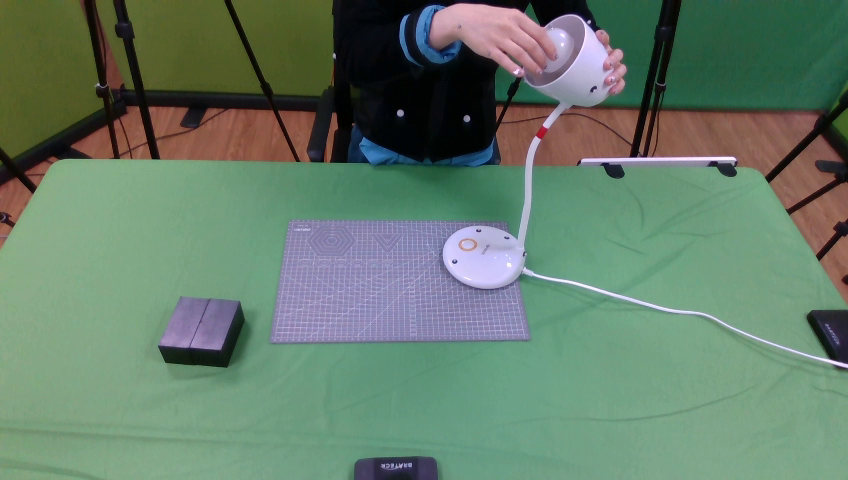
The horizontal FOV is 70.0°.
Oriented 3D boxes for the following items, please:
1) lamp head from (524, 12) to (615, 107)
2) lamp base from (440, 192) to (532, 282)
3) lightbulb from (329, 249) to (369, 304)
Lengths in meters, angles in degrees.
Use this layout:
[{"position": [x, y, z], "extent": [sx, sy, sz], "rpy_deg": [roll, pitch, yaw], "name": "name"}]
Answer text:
[{"position": [0.220, -0.247, 0.885], "extent": [0.112, 0.123, 0.111], "rpy_deg": [-25, 47, 30], "name": "lamp head"}, {"position": [0.127, -0.032, 1.123], "extent": [0.179, 0.181, 0.159], "rpy_deg": [11, 47, 2], "name": "lamp base"}, {"position": [-0.130, 0.066, 1.088], "extent": [0.059, 0.059, 0.107], "rpy_deg": [-24, 76, -25], "name": "lightbulb"}]
